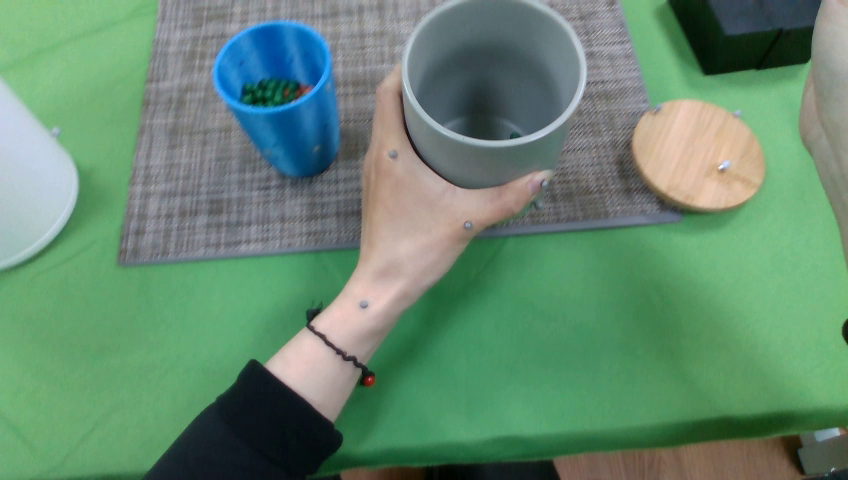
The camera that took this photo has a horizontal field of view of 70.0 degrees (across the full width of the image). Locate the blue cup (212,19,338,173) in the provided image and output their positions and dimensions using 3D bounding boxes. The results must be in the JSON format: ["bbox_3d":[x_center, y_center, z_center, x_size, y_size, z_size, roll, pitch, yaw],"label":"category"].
[{"bbox_3d":[-0.107,-0.104,0.476,0.092,0.101,0.092,-1,64,2],"label":"blue cup"}]

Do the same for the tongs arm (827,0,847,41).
[{"bbox_3d":[0.421,-0.108,0.512,0.051,0.027,0.381,-1,64,-7],"label":"tongs arm"}]

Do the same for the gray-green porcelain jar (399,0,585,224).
[{"bbox_3d":[0.040,-0.076,0.398,0.106,0.127,0.105,0,69,1],"label":"gray-green porcelain jar"}]

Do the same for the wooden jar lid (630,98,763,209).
[{"bbox_3d":[0.223,-0.070,0.502,0.108,0.021,0.107,1,62,-2],"label":"wooden jar lid"}]

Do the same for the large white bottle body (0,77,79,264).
[{"bbox_3d":[-0.351,-0.074,0.421,0.130,0.186,0.129,0,63,1],"label":"large white bottle body"}]
